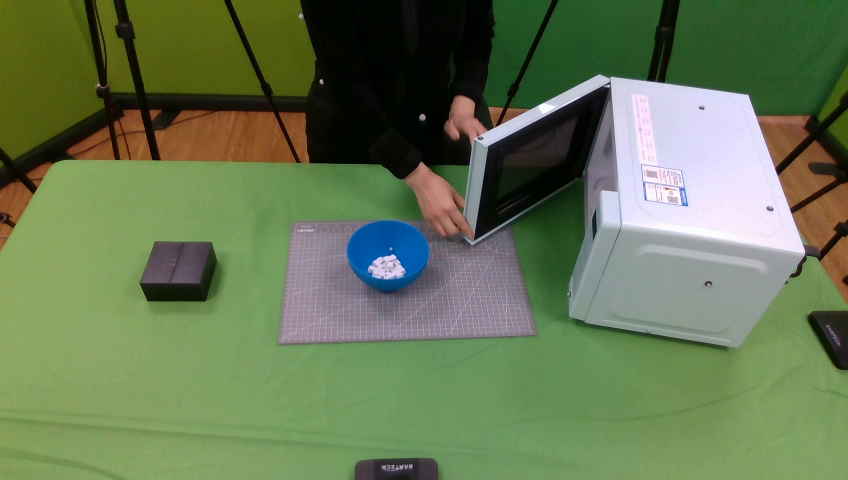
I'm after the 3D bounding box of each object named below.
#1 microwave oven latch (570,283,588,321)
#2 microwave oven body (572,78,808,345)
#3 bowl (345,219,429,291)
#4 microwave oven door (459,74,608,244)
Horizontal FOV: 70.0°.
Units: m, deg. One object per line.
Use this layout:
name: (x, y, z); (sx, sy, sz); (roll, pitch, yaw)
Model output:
microwave oven latch: (0.276, 0.105, 1.082); (0.030, 0.029, 0.079); (10, 45, 6)
microwave oven body: (0.456, -0.063, 1.124); (0.326, 0.261, 0.439); (8, 45, 5)
bowl: (-0.068, 0.041, 1.111); (0.151, 0.077, 0.150); (2, 46, -2)
microwave oven door: (0.219, -0.163, 1.195); (0.356, 0.245, 0.039); (-31, 55, -29)
